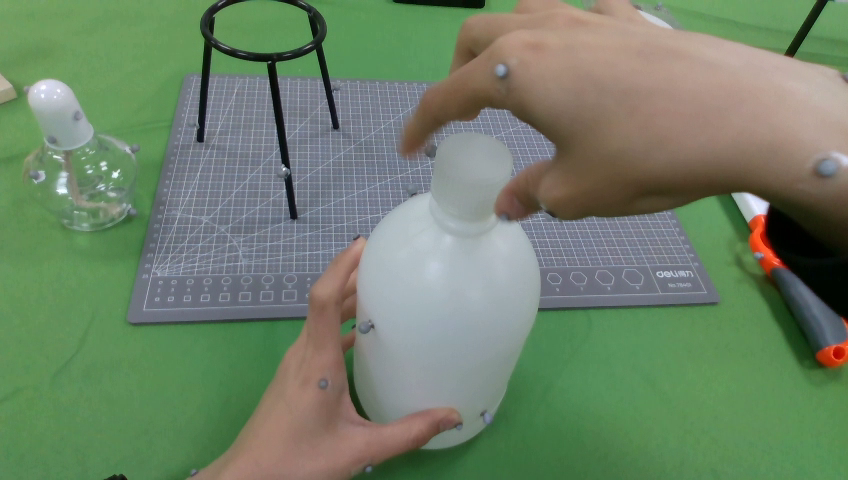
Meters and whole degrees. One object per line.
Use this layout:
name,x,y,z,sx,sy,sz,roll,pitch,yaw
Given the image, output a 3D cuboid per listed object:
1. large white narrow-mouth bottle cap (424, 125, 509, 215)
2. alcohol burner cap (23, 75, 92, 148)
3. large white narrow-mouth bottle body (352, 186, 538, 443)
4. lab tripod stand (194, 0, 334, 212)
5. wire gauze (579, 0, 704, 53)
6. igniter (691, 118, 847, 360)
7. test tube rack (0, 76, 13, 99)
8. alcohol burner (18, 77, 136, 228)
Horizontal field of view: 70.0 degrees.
large white narrow-mouth bottle cap,0.019,-0.031,0.272,0.038,0.024,0.037,4,49,-4
alcohol burner cap,-0.251,-0.089,0.411,0.034,0.048,0.033,3,55,-5
large white narrow-mouth bottle body,0.010,0.032,0.342,0.102,0.196,0.101,4,49,-4
lab tripod stand,-0.124,-0.117,0.488,0.149,0.132,0.147,6,49,-6
wire gauze,0.235,-0.244,0.678,0.122,0.011,0.123,1,50,-10
igniter,0.303,-0.015,0.540,0.057,0.025,0.273,8,48,-16
test tube rack,-0.475,-0.118,0.468,0.066,0.086,0.242,38,54,22
alcohol burner,-0.255,-0.066,0.439,0.078,0.120,0.077,6,47,-6
